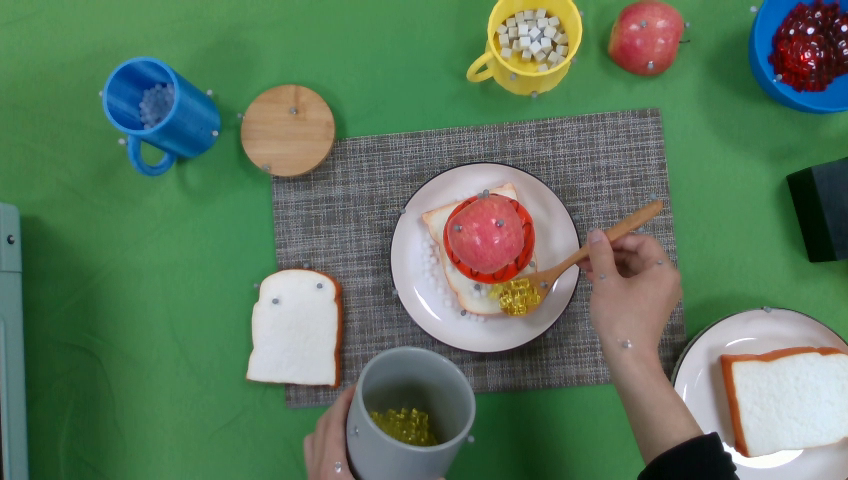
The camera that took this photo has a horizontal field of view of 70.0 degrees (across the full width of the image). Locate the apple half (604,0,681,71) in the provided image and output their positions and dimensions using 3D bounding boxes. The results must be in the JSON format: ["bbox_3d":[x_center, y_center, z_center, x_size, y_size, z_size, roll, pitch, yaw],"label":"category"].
[{"bbox_3d":[0.243,-0.234,0.667,0.074,0.053,0.080,18,88,7],"label":"apple half"}]

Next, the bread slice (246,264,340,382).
[{"bbox_3d":[-0.148,0.093,0.684,0.105,0.019,0.131,2,88,3],"label":"bread slice"}]

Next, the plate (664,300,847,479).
[{"bbox_3d":[0.358,0.167,0.644,0.209,0.038,0.208,0,86,3],"label":"plate"}]

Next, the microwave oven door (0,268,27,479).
[{"bbox_3d":[-0.474,0.200,0.568,0.039,0.244,0.355,-5,86,3],"label":"microwave oven door"}]

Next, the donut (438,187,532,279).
[{"bbox_3d":[0.065,-0.008,0.639,0.099,0.048,0.099,0,87,4],"label":"donut"}]

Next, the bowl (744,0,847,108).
[{"bbox_3d":[0.407,-0.206,0.644,0.151,0.077,0.151,0,87,4],"label":"bowl"}]

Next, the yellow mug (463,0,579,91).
[{"bbox_3d":[0.101,-0.216,0.667,0.131,0.064,0.099,-29,85,2],"label":"yellow mug"}]

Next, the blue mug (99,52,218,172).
[{"bbox_3d":[-0.291,-0.131,0.663,0.082,0.106,0.116,16,87,4],"label":"blue mug"}]

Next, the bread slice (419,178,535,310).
[{"bbox_3d":[0.068,0.009,0.667,0.107,0.018,0.134,-21,87,2],"label":"bread slice"}]

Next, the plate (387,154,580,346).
[{"bbox_3d":[0.064,0.011,0.666,0.207,0.039,0.207,0,87,3],"label":"plate"}]

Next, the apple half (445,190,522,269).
[{"bbox_3d":[0.060,-0.011,0.603,0.081,0.033,0.081,-1,85,10],"label":"apple half"}]

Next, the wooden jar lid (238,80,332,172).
[{"bbox_3d":[-0.158,-0.129,0.696,0.108,0.021,0.108,0,83,4],"label":"wooden jar lid"}]

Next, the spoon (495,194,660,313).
[{"bbox_3d":[0.144,0.015,0.588,0.194,0.022,0.041,-40,59,35],"label":"spoon"}]

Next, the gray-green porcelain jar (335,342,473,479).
[{"bbox_3d":[-0.024,0.174,0.558,0.106,0.105,0.127,24,129,5],"label":"gray-green porcelain jar"}]

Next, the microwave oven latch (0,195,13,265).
[{"bbox_3d":[-0.483,-0.011,0.682,0.030,0.029,0.079,-1,87,3],"label":"microwave oven latch"}]
